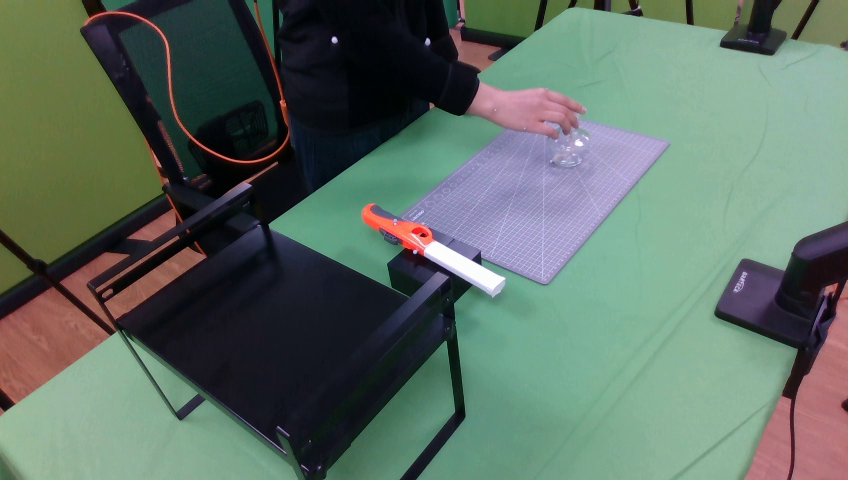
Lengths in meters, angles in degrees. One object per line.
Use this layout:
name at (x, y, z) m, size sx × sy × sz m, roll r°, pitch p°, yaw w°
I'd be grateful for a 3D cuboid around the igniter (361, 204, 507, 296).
igniter at (0.003, 0.008, 0.889) m, size 0.274 × 0.025 × 0.057 m, roll 29°, pitch 49°, yaw 33°

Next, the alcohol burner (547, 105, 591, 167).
alcohol burner at (0.261, -0.192, 1.087) m, size 0.078 × 0.119 × 0.077 m, roll -5°, pitch 43°, yaw 5°

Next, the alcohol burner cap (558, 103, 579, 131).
alcohol burner cap at (0.256, -0.219, 1.064) m, size 0.034 × 0.048 × 0.033 m, roll 3°, pitch 47°, yaw -2°
